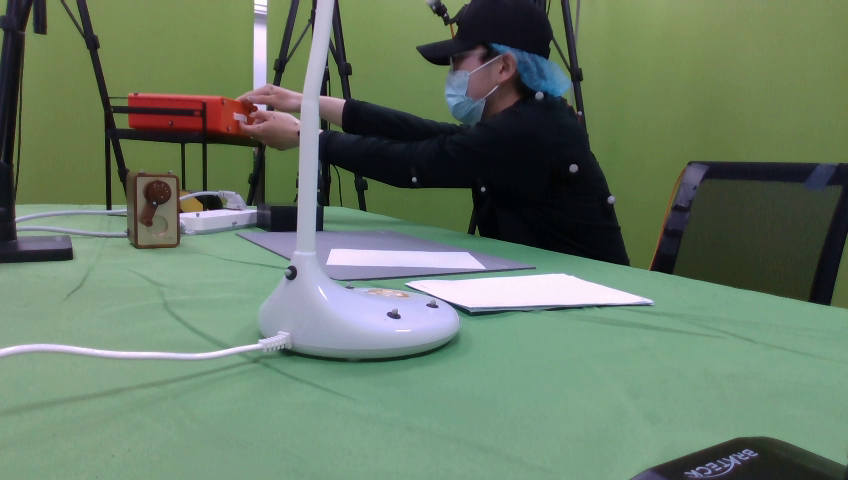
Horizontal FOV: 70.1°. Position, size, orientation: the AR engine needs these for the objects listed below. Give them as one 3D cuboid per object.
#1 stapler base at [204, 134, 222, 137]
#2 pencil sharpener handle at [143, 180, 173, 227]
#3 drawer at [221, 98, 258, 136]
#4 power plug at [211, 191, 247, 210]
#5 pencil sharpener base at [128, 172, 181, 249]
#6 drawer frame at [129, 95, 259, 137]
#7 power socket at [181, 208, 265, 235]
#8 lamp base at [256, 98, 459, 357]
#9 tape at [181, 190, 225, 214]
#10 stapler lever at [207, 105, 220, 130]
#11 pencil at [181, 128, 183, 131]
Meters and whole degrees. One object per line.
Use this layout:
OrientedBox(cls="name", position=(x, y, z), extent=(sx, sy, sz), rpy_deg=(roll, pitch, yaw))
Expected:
OrientedBox(cls="stapler base", position=(-0.484, -0.256, 1.387), extent=(0.041, 0.024, 0.130), rpy_deg=(4, -1, -19))
OrientedBox(cls="pencil sharpener handle", position=(-0.371, -0.050, 0.840), extent=(0.036, 0.067, 0.030), rpy_deg=(24, -5, -34))
OrientedBox(cls="drawer", position=(-0.513, -0.280, 1.382), extent=(0.212, 0.073, 0.194), rpy_deg=(3, 8, 7))
OrientedBox(cls="power plug", position=(-0.386, -0.071, 1.204), extent=(0.072, 0.052, 0.035), rpy_deg=(7, 8, 26))
OrientedBox(cls="pencil sharpener base", position=(-0.395, -0.044, 0.887), extent=(0.062, 0.107, 0.076), rpy_deg=(-2, 9, -34))
OrientedBox(cls="drawer frame", position=(-0.515, -0.281, 1.381), extent=(0.213, 0.082, 0.202), rpy_deg=(3, 8, 6))
OrientedBox(cls="power socket", position=(-0.381, -0.038, 1.129), extent=(0.072, 0.032, 0.227), rpy_deg=(4, 8, 17))
OrientedBox(cls="lamp base", position=(-0.055, -0.013, 0.463), extent=(0.160, 0.180, 0.180), rpy_deg=(6, 11, 27))
OrientedBox(cls="tape", position=(-0.515, -0.087, 1.389), extent=(0.117, 0.052, 0.117), rpy_deg=(3, 7, 0))
OrientedBox(cls="stapler lever", position=(-0.484, -0.281, 1.388), extent=(0.027, 0.040, 0.117), rpy_deg=(4, -1, -19))
OrientedBox(cls="pencil", position=(-0.548, -0.254, 1.368), extent=(0.012, 0.012, 0.193), rpy_deg=(-1, 13, -22))
